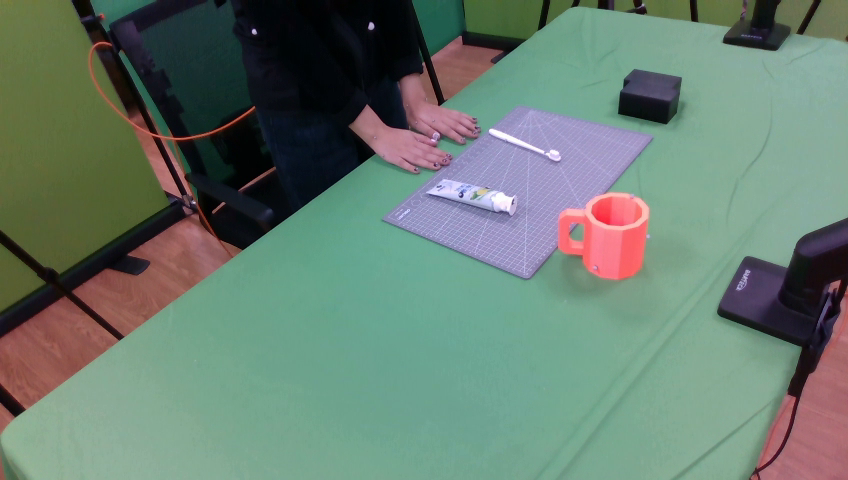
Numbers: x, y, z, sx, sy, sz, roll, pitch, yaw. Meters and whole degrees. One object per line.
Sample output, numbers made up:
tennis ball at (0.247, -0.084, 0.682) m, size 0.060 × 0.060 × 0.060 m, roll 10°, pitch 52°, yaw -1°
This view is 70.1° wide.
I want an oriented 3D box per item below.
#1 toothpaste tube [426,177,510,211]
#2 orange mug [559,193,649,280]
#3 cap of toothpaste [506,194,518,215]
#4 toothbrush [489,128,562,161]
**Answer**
toothpaste tube at (0.083, -0.081, 1.054) m, size 0.164 × 0.034 × 0.055 m, roll 18°, pitch 40°, yaw 34°
orange mug at (0.261, -0.008, 0.884) m, size 0.126 × 0.101 × 0.083 m, roll 9°, pitch 43°, yaw 14°
cap of toothpaste at (0.146, -0.060, 1.008) m, size 0.011 × 0.037 × 0.037 m, roll 14°, pitch 46°, yaw 22°
toothbrush at (0.191, -0.188, 1.167) m, size 0.014 × 0.017 × 0.180 m, roll -45°, pitch 49°, yaw -16°
